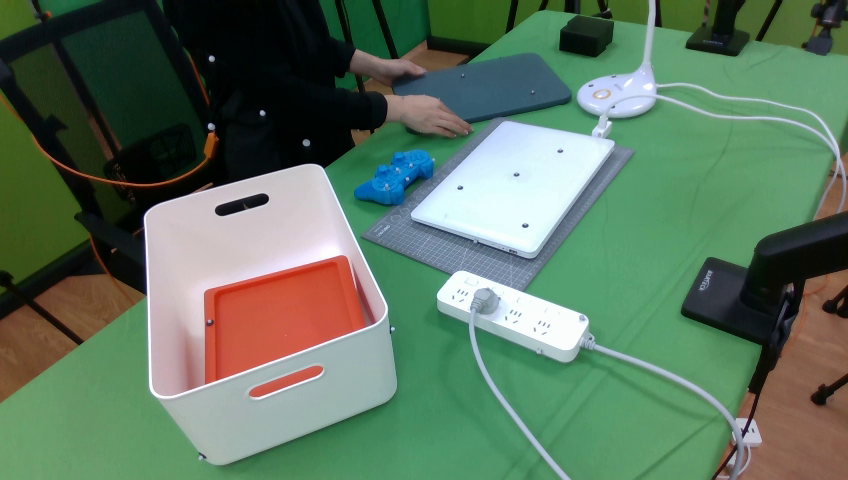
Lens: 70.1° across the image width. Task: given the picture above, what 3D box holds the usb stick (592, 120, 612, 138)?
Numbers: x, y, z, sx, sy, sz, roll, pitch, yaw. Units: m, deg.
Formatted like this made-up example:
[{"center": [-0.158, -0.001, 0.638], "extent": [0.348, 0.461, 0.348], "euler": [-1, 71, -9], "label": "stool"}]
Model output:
[{"center": [0.335, -0.203, 1.149], "extent": [0.021, 0.027, 0.059], "euler": [25, 53, 26], "label": "usb stick"}]

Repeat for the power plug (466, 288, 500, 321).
[{"center": [0.072, 0.093, 0.813], "extent": [0.073, 0.053, 0.035], "euler": [-37, 49, -28], "label": "power plug"}]

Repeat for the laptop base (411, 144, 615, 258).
[{"center": [0.167, -0.102, 1.074], "extent": [0.234, 0.023, 0.355], "euler": [16, 45, 30], "label": "laptop base"}]

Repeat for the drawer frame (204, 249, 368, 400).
[{"center": [-0.174, 0.129, 0.791], "extent": [0.202, 0.083, 0.212], "euler": [-16, 45, -8], "label": "drawer frame"}]

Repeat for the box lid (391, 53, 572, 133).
[{"center": [0.123, -0.339, 1.366], "extent": [0.372, 0.015, 0.261], "euler": [-12, 40, -5], "label": "box lid"}]

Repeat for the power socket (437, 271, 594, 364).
[{"center": [0.118, 0.102, 0.830], "extent": [0.225, 0.033, 0.072], "euler": [20, 48, 28], "label": "power socket"}]

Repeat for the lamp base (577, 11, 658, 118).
[{"center": [0.406, -0.363, 1.222], "extent": [0.180, 0.181, 0.159], "euler": [-20, 42, -18], "label": "lamp base"}]

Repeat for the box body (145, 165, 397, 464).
[{"center": [-0.205, 0.080, 0.802], "extent": [0.255, 0.161, 0.361], "euler": [-18, 41, -13], "label": "box body"}]

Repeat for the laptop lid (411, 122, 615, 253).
[{"center": [0.164, -0.112, 1.068], "extent": [0.240, 0.013, 0.357], "euler": [19, 46, 31], "label": "laptop lid"}]

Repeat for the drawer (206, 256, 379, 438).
[{"center": [-0.177, 0.130, 0.787], "extent": [0.195, 0.073, 0.210], "euler": [-14, 39, -10], "label": "drawer"}]

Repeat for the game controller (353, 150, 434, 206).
[{"center": [-0.051, -0.121, 1.105], "extent": [0.096, 0.052, 0.155], "euler": [23, 49, 28], "label": "game controller"}]
